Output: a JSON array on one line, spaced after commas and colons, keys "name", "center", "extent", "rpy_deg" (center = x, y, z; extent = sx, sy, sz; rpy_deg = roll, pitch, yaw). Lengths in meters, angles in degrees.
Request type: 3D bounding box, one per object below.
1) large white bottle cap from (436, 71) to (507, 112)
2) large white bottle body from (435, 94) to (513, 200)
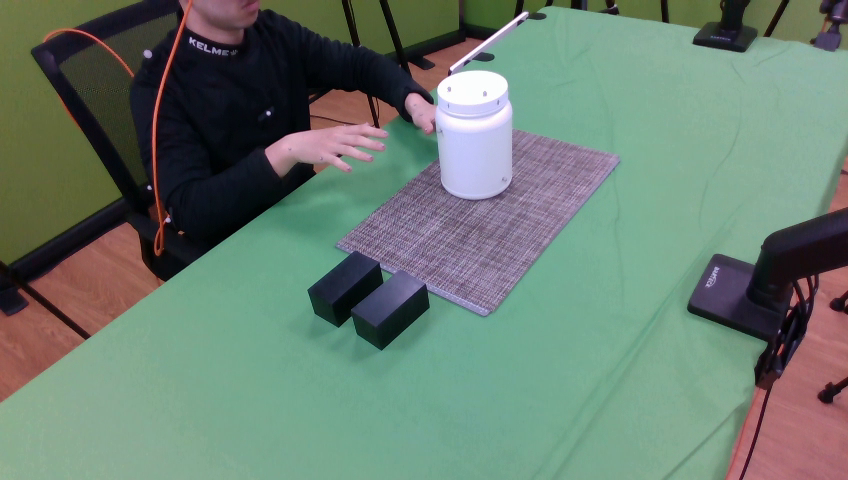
[{"name": "large white bottle cap", "center": [0.077, -0.241, 0.976], "extent": [0.115, 0.018, 0.114], "rpy_deg": [-4, 41, 4]}, {"name": "large white bottle body", "center": [0.086, -0.176, 1.030], "extent": [0.130, 0.185, 0.130], "rpy_deg": [-4, 41, 4]}]
